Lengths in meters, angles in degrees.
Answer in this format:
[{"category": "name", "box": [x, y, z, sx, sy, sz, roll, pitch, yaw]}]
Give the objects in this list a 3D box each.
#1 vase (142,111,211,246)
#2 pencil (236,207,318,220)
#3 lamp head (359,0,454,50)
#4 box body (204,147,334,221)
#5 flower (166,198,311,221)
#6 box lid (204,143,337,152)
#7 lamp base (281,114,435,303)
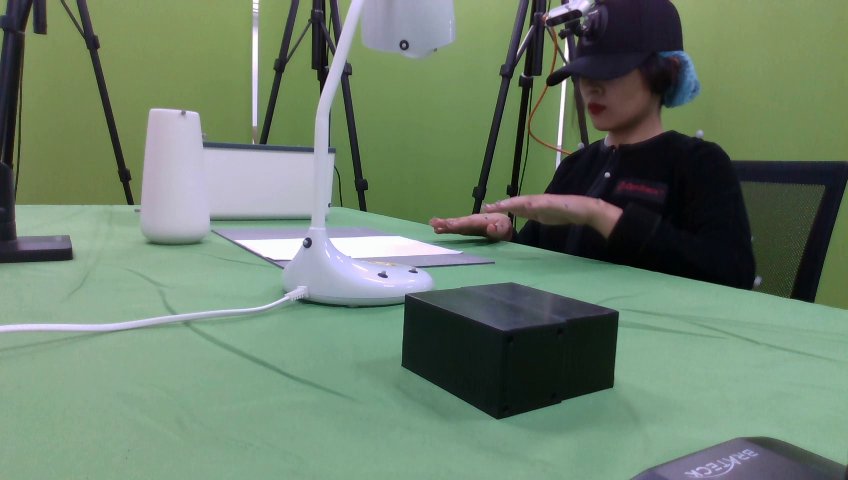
[{"category": "vase", "box": [-0.378, -0.093, 0.920, 0.098, 0.200, 0.098, 2, 9, 0]}, {"category": "pencil", "box": [-0.347, -0.062, 1.437, 0.194, 0.012, 0.012, 7, 7, -6]}, {"category": "lamp head", "box": [-0.024, -0.283, 0.674, 0.112, 0.123, 0.112, -3, 38, 3]}, {"category": "box body", "box": [-0.413, -0.134, 1.379, 0.366, 0.160, 0.253, -2, 9, -31]}, {"category": "flower", "box": [-0.397, -0.058, 1.355, 0.044, 0.038, 0.364, -37, -25, 32]}, {"category": "box lid", "box": [-0.407, -0.209, 1.370, 0.373, 0.015, 0.262, -3, 9, -30]}, {"category": "lamp base", "box": [-0.071, -0.035, 0.614, 0.160, 0.180, 0.180, 6, 10, 27]}]
